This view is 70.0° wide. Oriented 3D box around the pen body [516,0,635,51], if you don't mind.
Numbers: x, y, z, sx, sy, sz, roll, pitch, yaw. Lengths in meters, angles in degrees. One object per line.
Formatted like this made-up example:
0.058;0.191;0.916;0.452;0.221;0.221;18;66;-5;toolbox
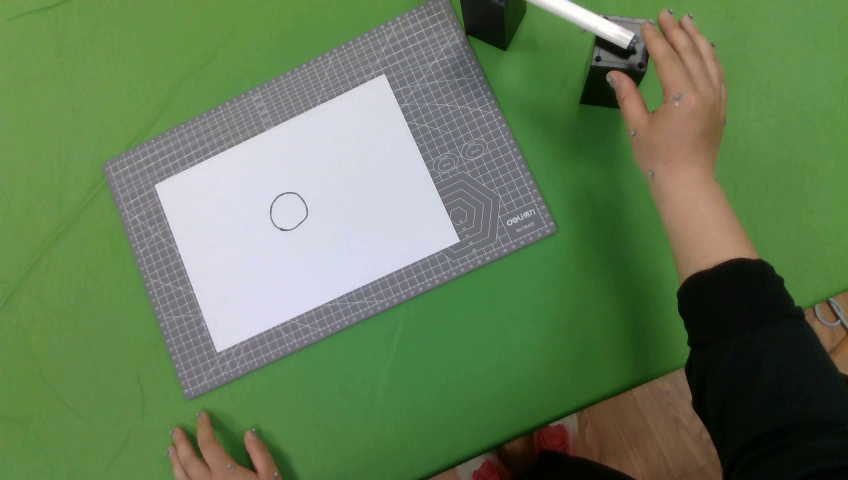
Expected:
0.125;-0.210;0.558;0.143;0.017;0.017;29;89;10;pen body
